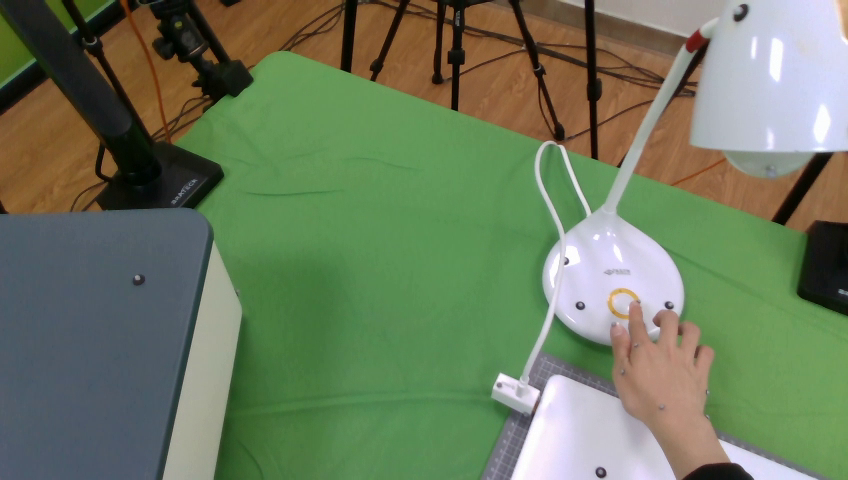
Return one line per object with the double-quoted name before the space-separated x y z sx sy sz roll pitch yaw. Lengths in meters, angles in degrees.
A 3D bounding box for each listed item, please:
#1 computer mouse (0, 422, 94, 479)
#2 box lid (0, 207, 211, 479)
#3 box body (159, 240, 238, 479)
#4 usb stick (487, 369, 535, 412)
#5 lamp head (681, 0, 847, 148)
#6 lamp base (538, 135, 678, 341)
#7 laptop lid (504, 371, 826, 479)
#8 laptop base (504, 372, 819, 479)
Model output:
"computer mouse" -0.358 0.212 0.570 0.063 0.041 0.116 -27 19 -7
"box lid" -0.328 0.122 0.482 0.263 0.015 0.368 -1 56 -1
"box body" -0.327 0.166 0.541 0.254 0.162 0.360 -1 55 -1
"usb stick" 0.095 0.156 0.618 0.059 0.027 0.021 24 55 14
"lamp head" 0.224 -0.121 0.387 0.112 0.112 0.123 -4 99 -2
"lamp base" 0.209 -0.009 0.649 0.161 0.182 0.177 -11 53 -7
"laptop lid" 0.237 0.281 0.534 0.355 0.013 0.240 22 61 15
"laptop base" 0.238 0.286 0.545 0.353 0.023 0.234 20 61 14
